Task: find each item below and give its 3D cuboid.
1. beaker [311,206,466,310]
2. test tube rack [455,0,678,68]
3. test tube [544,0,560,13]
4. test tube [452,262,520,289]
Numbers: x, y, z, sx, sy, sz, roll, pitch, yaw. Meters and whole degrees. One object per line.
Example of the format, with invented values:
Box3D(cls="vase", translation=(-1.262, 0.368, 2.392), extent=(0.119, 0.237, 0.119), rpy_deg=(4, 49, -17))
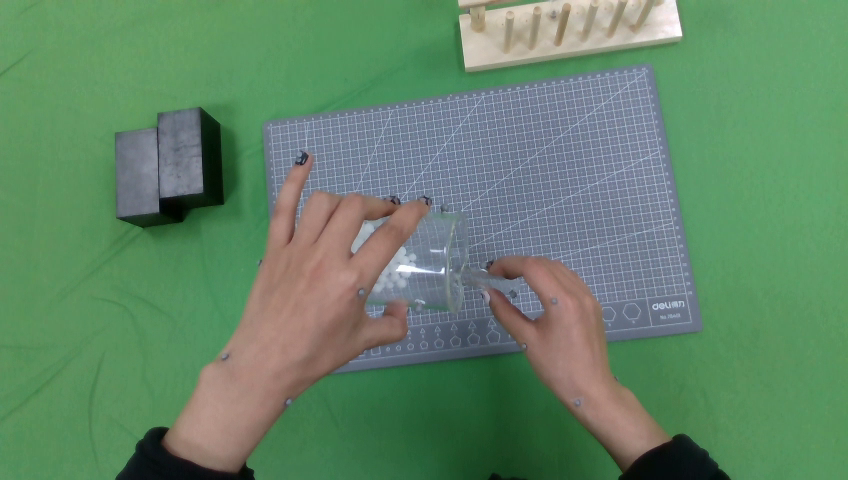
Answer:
Box3D(cls="beaker", translation=(-0.024, 0.012, 0.445), extent=(0.100, 0.084, 0.073), rpy_deg=(3, 74, 13))
Box3D(cls="test tube rack", translation=(0.156, -0.253, 0.657), extent=(0.242, 0.085, 0.066), rpy_deg=(-7, 79, 5))
Box3D(cls="test tube", translation=(0.139, -0.278, 0.613), extent=(0.017, 0.151, 0.017), rpy_deg=(-1, 77, 3))
Box3D(cls="test tube", translation=(0.059, 0.033, 0.538), extent=(0.017, 0.151, 0.017), rpy_deg=(-3, 82, 24))
